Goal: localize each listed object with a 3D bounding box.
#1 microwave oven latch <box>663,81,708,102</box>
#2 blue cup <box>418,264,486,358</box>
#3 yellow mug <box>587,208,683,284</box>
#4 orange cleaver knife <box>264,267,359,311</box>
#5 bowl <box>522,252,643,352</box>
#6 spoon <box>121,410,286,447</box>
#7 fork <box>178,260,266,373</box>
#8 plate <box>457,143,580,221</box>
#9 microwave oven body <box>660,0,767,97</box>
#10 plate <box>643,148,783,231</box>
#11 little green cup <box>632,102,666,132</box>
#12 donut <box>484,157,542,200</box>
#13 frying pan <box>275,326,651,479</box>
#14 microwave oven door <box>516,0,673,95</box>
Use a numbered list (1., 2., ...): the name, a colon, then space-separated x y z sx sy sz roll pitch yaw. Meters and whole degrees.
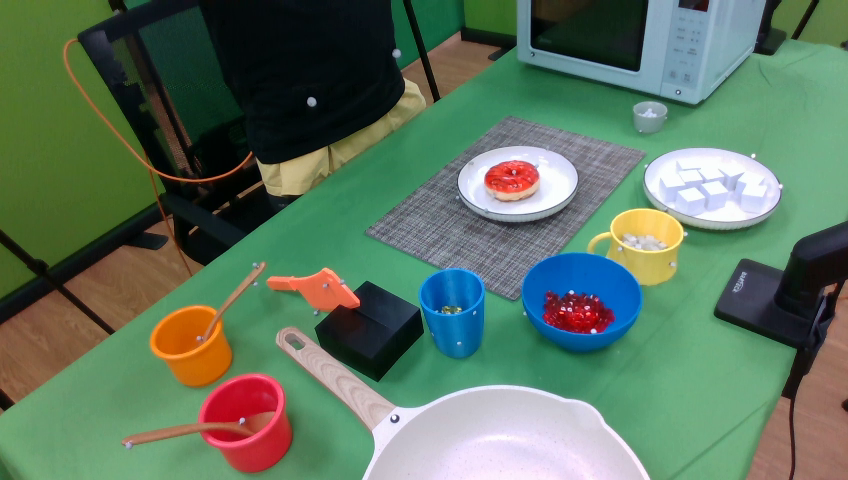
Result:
1. microwave oven latch: 0.518 -0.299 1.202 0.030 0.029 0.078 -37 48 -29
2. blue cup: 0.042 0.100 0.787 0.092 0.101 0.092 -5 41 5
3. yellow mug: 0.305 0.009 0.884 0.131 0.064 0.099 -4 41 5
4. orange cleaver knife: -0.164 0.072 0.864 0.210 0.077 0.012 -6 32 50
5. bowl: 0.204 0.093 0.792 0.151 0.077 0.150 -4 40 4
6. spoon: -0.236 0.207 0.670 0.041 0.021 0.195 33 11 38
7. fork: -0.267 0.102 0.794 0.019 0.207 0.028 28 21 -31
8. plate: 0.162 -0.097 1.042 0.209 0.038 0.208 -4 40 4
9. microwave oven body: 0.473 -0.516 1.313 0.438 0.261 0.327 26 51 34
10. plate: 0.464 -0.080 0.985 0.207 0.039 0.206 -4 41 4
11. little green cup: 0.434 -0.237 1.172 0.061 0.039 0.061 -6 39 5
12. donut: 0.153 -0.107 1.039 0.099 0.048 0.098 -6 37 5
13. frying pan: 0.003 0.229 0.641 0.484 0.103 0.308 34 54 28
14. microwave oven door: 0.344 -0.458 1.256 0.353 0.245 0.039 26 51 33
